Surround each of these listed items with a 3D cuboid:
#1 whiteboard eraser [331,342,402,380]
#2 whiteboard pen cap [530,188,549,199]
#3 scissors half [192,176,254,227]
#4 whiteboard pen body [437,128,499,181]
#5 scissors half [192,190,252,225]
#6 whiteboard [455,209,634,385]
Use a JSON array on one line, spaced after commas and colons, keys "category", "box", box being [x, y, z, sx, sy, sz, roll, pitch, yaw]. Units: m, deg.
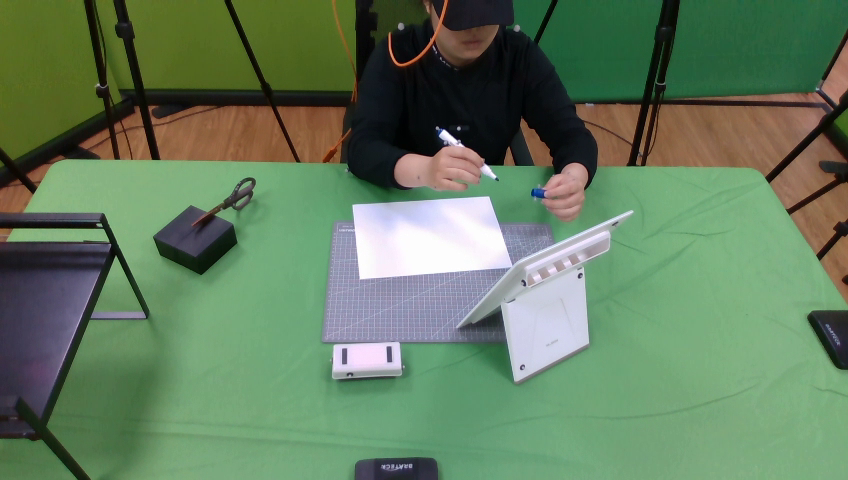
[{"category": "whiteboard eraser", "box": [-0.094, 0.198, 0.986, 0.113, 0.042, 0.055, -2, 44, -6]}, {"category": "whiteboard pen cap", "box": [0.213, -0.086, 1.119, 0.033, 0.018, 0.018, 8, 43, -24]}, {"category": "scissors half", "box": [-0.388, -0.075, 1.174, 0.013, 0.040, 0.174, 29, 47, 8]}, {"category": "whiteboard pen body", "box": [0.080, -0.151, 1.081, 0.141, 0.017, 0.017, 40, 52, -1]}, {"category": "scissors half", "box": [-0.393, -0.060, 1.187, 0.013, 0.040, 0.175, 25, 29, 12]}, {"category": "whiteboard", "box": [0.211, 0.111, 0.955, 0.217, 0.306, 0.143, -21, 72, -23]}]
